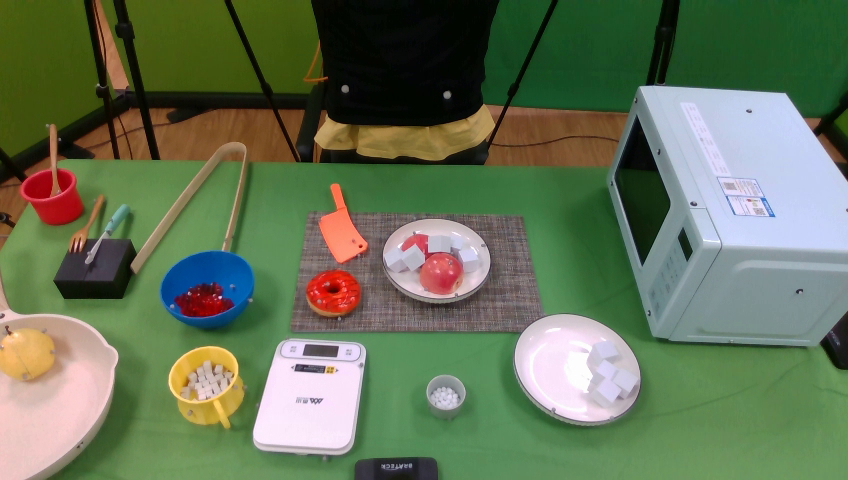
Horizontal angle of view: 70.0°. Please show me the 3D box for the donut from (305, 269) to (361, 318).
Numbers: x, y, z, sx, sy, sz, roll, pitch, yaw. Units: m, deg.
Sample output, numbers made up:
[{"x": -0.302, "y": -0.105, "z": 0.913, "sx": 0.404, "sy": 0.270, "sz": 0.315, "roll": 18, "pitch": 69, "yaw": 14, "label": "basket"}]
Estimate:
[{"x": -0.160, "y": 0.094, "z": 1.075, "sx": 0.099, "sy": 0.048, "sz": 0.098, "roll": 4, "pitch": 45, "yaw": -3, "label": "donut"}]

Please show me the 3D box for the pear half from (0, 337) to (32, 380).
[{"x": -0.631, "y": 0.184, "z": 0.921, "sx": 0.070, "sy": 0.088, "sz": 0.031, "roll": 29, "pitch": 49, "yaw": 19, "label": "pear half"}]

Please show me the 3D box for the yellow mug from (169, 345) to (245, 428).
[{"x": -0.322, "y": 0.230, "z": 0.922, "sx": 0.100, "sy": 0.064, "sz": 0.130, "roll": -24, "pitch": 53, "yaw": -25, "label": "yellow mug"}]

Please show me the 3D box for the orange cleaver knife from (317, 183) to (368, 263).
[{"x": -0.174, "y": -0.037, "z": 1.218, "sx": 0.077, "sy": 0.012, "sz": 0.210, "roll": -17, "pitch": 51, "yaw": -11, "label": "orange cleaver knife"}]

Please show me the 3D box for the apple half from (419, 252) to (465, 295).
[{"x": 0.035, "y": 0.056, "z": 1.109, "sx": 0.074, "sy": 0.053, "sz": 0.081, "roll": 37, "pitch": 55, "yaw": 25, "label": "apple half"}]

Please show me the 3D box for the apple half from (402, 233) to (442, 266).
[{"x": -0.004, "y": 0.013, "z": 1.160, "sx": 0.081, "sy": 0.033, "sz": 0.081, "roll": 4, "pitch": 45, "yaw": -4, "label": "apple half"}]

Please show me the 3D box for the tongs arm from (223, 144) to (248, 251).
[{"x": -0.398, "y": -0.072, "z": 1.232, "sx": 0.051, "sy": 0.027, "sz": 0.382, "roll": -3, "pitch": 45, "yaw": 0, "label": "tongs arm"}]

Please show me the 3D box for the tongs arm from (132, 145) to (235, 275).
[{"x": -0.483, "y": -0.075, "z": 1.236, "sx": 0.028, "sy": 0.028, "sz": 0.385, "roll": 5, "pitch": 45, "yaw": 13, "label": "tongs arm"}]

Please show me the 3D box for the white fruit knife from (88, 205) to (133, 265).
[{"x": -0.584, "y": -0.013, "z": 1.129, "sx": 0.016, "sy": 0.027, "sz": 0.206, "roll": 0, "pitch": 32, "yaw": -5, "label": "white fruit knife"}]

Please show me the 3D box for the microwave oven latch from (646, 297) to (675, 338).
[{"x": 0.412, "y": 0.134, "z": 1.061, "sx": 0.030, "sy": 0.029, "sz": 0.078, "roll": 4, "pitch": 45, "yaw": 1, "label": "microwave oven latch"}]

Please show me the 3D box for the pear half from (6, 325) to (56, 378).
[{"x": -0.608, "y": 0.158, "z": 0.935, "sx": 0.076, "sy": 0.110, "sz": 0.056, "roll": 31, "pitch": 51, "yaw": 20, "label": "pear half"}]

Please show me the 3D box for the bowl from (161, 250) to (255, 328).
[{"x": -0.362, "y": 0.098, "z": 1.039, "sx": 0.151, "sy": 0.077, "sz": 0.150, "roll": 2, "pitch": 45, "yaw": -2, "label": "bowl"}]

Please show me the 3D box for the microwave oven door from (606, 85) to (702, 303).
[{"x": 0.422, "y": -0.094, "z": 1.140, "sx": 0.039, "sy": 0.245, "sz": 0.353, "roll": 2, "pitch": 46, "yaw": -1, "label": "microwave oven door"}]

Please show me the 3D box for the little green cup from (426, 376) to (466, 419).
[{"x": 0.033, "y": 0.248, "z": 0.950, "sx": 0.061, "sy": 0.039, "sz": 0.061, "roll": 2, "pitch": 46, "yaw": -2, "label": "little green cup"}]

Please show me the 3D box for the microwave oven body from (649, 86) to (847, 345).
[{"x": 0.567, "y": -0.053, "z": 1.118, "sx": 0.326, "sy": 0.261, "sz": 0.439, "roll": 2, "pitch": 45, "yaw": -1, "label": "microwave oven body"}]

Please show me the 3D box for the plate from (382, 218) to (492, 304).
[{"x": 0.023, "y": 0.042, "z": 1.143, "sx": 0.209, "sy": 0.038, "sz": 0.208, "roll": 2, "pitch": 46, "yaw": -2, "label": "plate"}]

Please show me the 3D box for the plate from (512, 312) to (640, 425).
[{"x": 0.246, "y": 0.213, "z": 0.999, "sx": 0.208, "sy": 0.039, "sz": 0.206, "roll": 2, "pitch": 46, "yaw": -2, "label": "plate"}]

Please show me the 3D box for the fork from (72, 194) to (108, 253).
[{"x": -0.634, "y": -0.036, "z": 1.158, "sx": 0.028, "sy": 0.019, "sz": 0.206, "roll": -8, "pitch": 32, "yaw": -8, "label": "fork"}]

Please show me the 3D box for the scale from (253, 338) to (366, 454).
[{"x": -0.175, "y": 0.236, "z": 0.951, "sx": 0.149, "sy": 0.032, "sz": 0.199, "roll": 4, "pitch": 45, "yaw": -1, "label": "scale"}]

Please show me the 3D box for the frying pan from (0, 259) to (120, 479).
[{"x": -0.647, "y": 0.164, "z": 0.936, "sx": 0.307, "sy": 0.103, "sz": 0.485, "roll": -19, "pitch": 58, "yaw": -22, "label": "frying pan"}]

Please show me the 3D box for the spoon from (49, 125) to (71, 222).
[{"x": -0.719, "y": -0.131, "z": 1.189, "sx": 0.041, "sy": 0.021, "sz": 0.193, "roll": -3, "pitch": 91, "yaw": -5, "label": "spoon"}]
